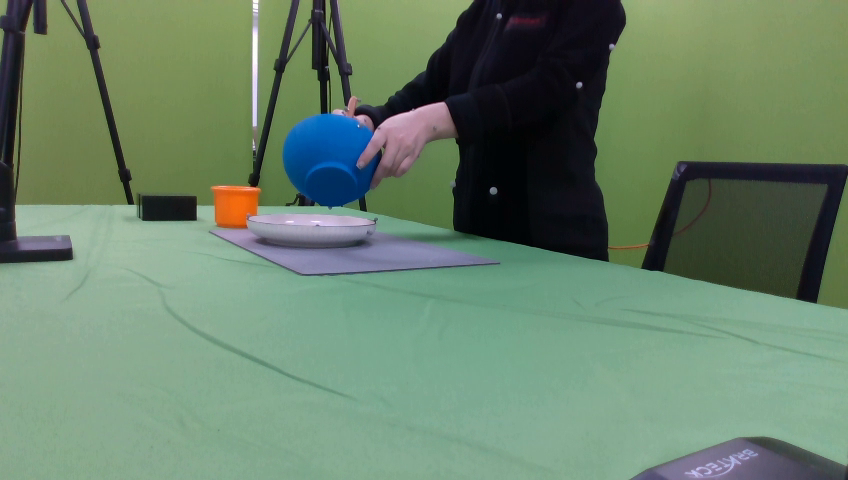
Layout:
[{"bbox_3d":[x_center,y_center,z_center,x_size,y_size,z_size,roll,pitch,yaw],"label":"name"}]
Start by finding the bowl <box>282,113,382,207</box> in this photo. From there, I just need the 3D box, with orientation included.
[{"bbox_3d":[-0.136,-0.102,0.886,0.152,0.151,0.076,1,43,-7],"label":"bowl"}]

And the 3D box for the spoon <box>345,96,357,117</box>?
[{"bbox_3d":[-0.134,-0.158,0.987,0.041,0.193,0.021,8,-29,0],"label":"spoon"}]

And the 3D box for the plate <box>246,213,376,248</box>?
[{"bbox_3d":[-0.185,-0.017,0.994,0.209,0.038,0.209,2,8,0],"label":"plate"}]
